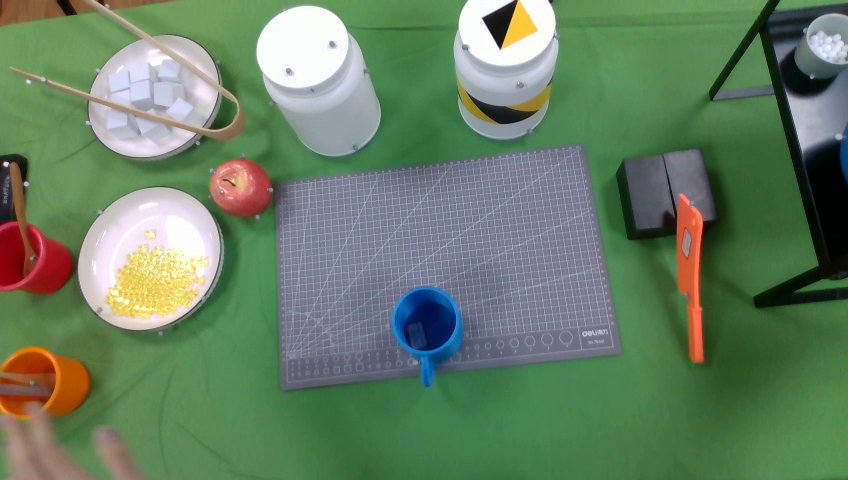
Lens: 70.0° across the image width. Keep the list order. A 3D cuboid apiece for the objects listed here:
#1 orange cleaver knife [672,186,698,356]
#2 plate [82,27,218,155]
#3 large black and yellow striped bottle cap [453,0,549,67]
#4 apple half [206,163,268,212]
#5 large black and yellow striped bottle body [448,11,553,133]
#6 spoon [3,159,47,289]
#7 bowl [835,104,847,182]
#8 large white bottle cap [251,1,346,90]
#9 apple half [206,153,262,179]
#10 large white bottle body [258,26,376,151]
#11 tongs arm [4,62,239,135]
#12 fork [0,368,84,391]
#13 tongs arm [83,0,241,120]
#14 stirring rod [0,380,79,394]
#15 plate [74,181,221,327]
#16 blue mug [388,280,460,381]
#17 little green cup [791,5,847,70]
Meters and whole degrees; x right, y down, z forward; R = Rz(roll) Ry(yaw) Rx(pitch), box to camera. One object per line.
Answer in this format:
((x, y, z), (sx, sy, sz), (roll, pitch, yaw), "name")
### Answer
((0.325, 0.040, 0.758), (0.012, 0.077, 0.212), (-7, 106, 3), "orange cleaver knife")
((-0.409, -0.222, 0.919), (0.207, 0.039, 0.206), (-1, 76, 5), "plate")
((0.091, -0.261, 0.720), (0.115, 0.019, 0.114), (-1, 76, 4), "large black and yellow striped bottle cap")
((-0.256, -0.066, 0.846), (0.081, 0.075, 0.053), (-20, 78, -4), "apple half")
((0.100, -0.237, 0.801), (0.130, 0.185, 0.130), (-1, 74, 6), "large black and yellow striped bottle body")
((-0.546, -0.018, 0.822), (0.041, 0.021, 0.195), (13, 121, 9), "spoon")
((0.473, -0.086, 0.596), (0.151, 0.077, 0.150), (-1, 75, 5), "bowl")
((-0.153, -0.237, 0.735), (0.115, 0.018, 0.114), (-1, 75, 6), "large white bottle cap")
((-0.269, -0.102, 0.855), (0.081, 0.081, 0.032), (-21, 79, 0), "apple half")
((-0.143, -0.214, 0.816), (0.130, 0.186, 0.130), (-1, 74, 5), "large white bottle body")
((-0.449, -0.218, 0.888), (0.383, 0.027, 0.050), (21, 74, 12), "tongs arm")
((-0.548, 0.166, 0.771), (0.209, 0.018, 0.028), (22, 72, -34), "fork")
((-0.410, -0.290, 0.905), (0.385, 0.028, 0.028), (35, 74, 15), "tongs arm")
((-0.537, 0.184, 0.768), (0.177, 0.006, 0.014), (13, 60, -33), "stirring rod")
((-0.383, 0.020, 0.853), (0.209, 0.038, 0.208), (-1, 76, 5), "plate")
((0.002, 0.117, 0.755), (0.082, 0.106, 0.116), (1, 75, 6), "blue mug")
((0.431, -0.216, 0.653), (0.061, 0.039, 0.061), (-1, 75, 6), "little green cup")
